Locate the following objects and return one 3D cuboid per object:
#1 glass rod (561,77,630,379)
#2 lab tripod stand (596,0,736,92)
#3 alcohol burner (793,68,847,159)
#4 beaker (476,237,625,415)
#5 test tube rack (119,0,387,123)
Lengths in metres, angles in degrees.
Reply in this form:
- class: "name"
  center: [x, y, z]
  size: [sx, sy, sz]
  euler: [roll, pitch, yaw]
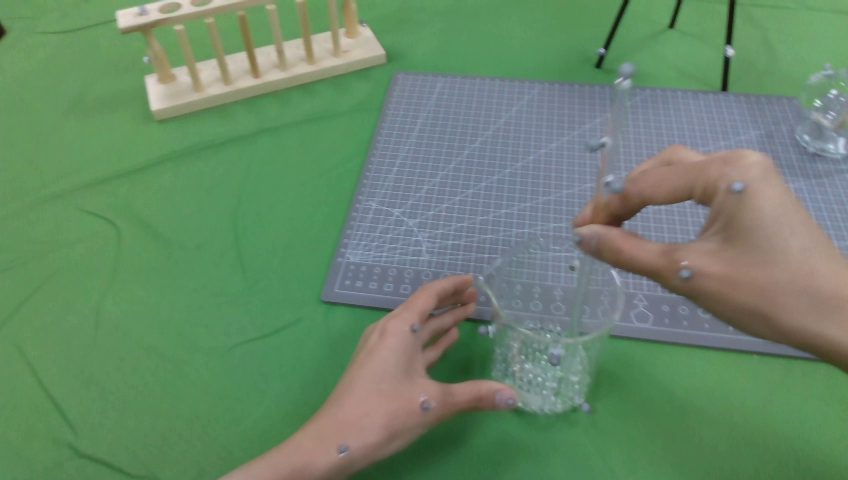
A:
- class: "glass rod"
  center: [0.083, 0.010, 0.309]
  size: [0.008, 0.201, 0.008]
  euler: [-1, 42, 2]
- class: "lab tripod stand"
  center: [0.254, -0.231, 0.594]
  size: [0.148, 0.132, 0.147]
  euler: [0, 49, 0]
- class: "alcohol burner"
  center: [0.365, -0.128, 0.511]
  size: [0.078, 0.120, 0.077]
  euler: [-1, 52, 1]
- class: "beaker"
  center: [0.073, 0.058, 0.378]
  size: [0.084, 0.101, 0.073]
  euler: [8, 50, 10]
- class: "test tube rack"
  center: [-0.165, -0.202, 0.617]
  size: [0.243, 0.086, 0.066]
  euler: [-18, 51, -13]
